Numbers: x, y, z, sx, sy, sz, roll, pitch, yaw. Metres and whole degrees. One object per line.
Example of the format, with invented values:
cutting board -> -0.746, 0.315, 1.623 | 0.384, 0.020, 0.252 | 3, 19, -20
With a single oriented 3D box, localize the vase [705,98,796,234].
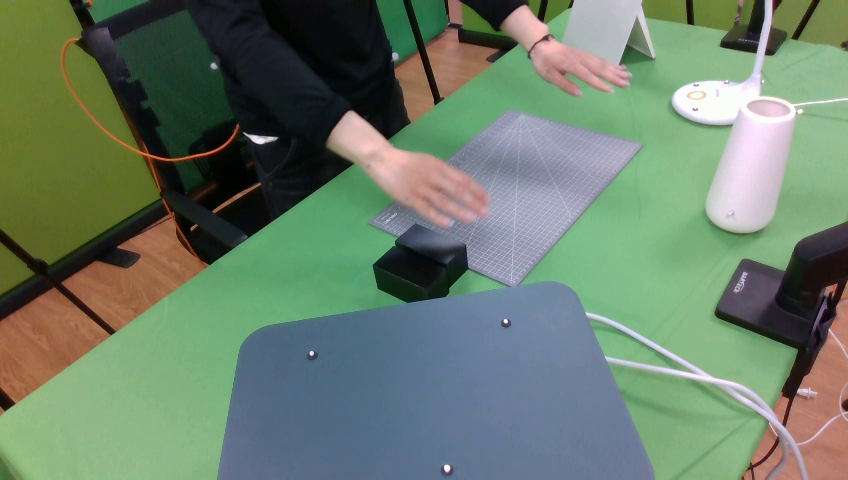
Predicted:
vase -> 0.480, -0.104, 0.889 | 0.098, 0.201, 0.097 | -4, 42, 4

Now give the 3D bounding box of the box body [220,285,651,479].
box body -> 0.005, 0.211, 0.616 | 0.364, 0.161, 0.252 | -9, 40, -2

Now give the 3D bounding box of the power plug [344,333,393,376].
power plug -> -0.075, 0.155, 0.809 | 0.073, 0.035, 0.052 | 39, 28, -12

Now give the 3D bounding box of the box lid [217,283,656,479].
box lid -> -0.004, 0.155, 0.568 | 0.372, 0.015, 0.261 | -8, 39, -2

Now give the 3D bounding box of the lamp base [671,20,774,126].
lamp base -> 0.581, -0.332, 1.154 | 0.179, 0.181, 0.160 | 2, 42, 7

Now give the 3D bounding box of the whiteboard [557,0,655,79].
whiteboard -> 0.462, -0.542, 1.367 | 0.145, 0.306, 0.215 | -3, 36, -25

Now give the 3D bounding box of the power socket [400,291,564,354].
power socket -> 0.079, 0.111, 0.823 | 0.227, 0.033, 0.072 | -5, 41, 2
